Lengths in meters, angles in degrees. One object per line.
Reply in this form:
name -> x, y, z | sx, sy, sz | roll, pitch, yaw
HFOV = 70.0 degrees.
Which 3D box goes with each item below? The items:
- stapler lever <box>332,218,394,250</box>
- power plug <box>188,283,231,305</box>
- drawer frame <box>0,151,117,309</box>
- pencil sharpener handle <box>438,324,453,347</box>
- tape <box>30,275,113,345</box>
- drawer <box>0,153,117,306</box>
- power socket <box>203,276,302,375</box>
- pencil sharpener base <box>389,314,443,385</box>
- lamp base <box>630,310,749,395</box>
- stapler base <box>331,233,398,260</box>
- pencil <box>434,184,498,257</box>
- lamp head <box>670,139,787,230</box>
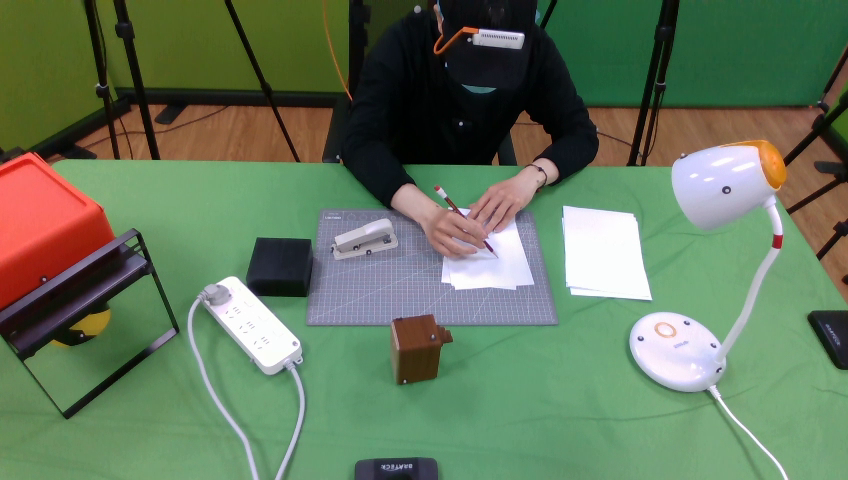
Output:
stapler lever -> -0.116, -0.012, 1.162 | 0.118, 0.040, 0.026 | -13, 48, -14
power plug -> -0.368, 0.099, 1.037 | 0.072, 0.053, 0.035 | -24, 52, -25
drawer frame -> -0.604, -0.013, 0.876 | 0.201, 0.083, 0.213 | 31, 52, 23
pencil sharpener handle -> 0.036, 0.155, 0.976 | 0.031, 0.068, 0.036 | -8, 69, -11
tape -> -0.593, 0.117, 1.021 | 0.117, 0.053, 0.116 | 2, 45, -2
drawer -> -0.601, -0.015, 0.880 | 0.193, 0.073, 0.211 | 32, 53, 23
power socket -> -0.297, 0.142, 1.034 | 0.072, 0.033, 0.225 | -34, 58, -30
pencil sharpener base -> -0.013, 0.175, 0.971 | 0.077, 0.107, 0.061 | -8, 47, -11
lamp base -> 0.447, 0.143, 0.984 | 0.161, 0.181, 0.178 | -24, 55, -24
stapler base -> -0.116, 0.005, 1.181 | 0.131, 0.024, 0.041 | -13, 48, -14
pencil -> 0.083, -0.035, 1.154 | 0.195, 0.012, 0.012 | 47, 46, -19
lamp head -> 0.415, -0.078, 0.812 | 0.113, 0.123, 0.112 | 12, 70, -37
